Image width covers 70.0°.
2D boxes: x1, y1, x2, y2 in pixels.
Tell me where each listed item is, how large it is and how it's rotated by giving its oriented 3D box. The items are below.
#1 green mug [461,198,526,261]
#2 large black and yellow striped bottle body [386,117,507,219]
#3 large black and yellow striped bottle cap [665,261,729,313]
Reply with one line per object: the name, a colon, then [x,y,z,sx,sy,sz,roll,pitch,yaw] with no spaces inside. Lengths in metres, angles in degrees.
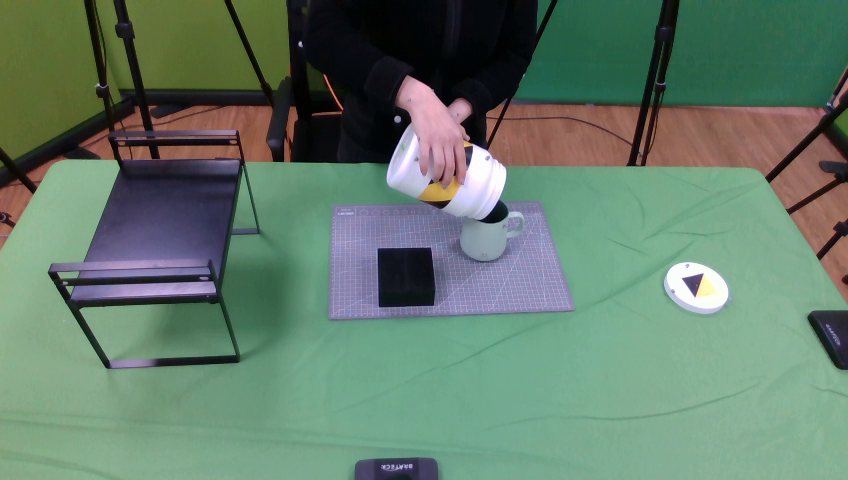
green mug: [0.136,-0.024,1.168,0.125,0.105,0.092,-7,47,-10]
large black and yellow striped bottle body: [0.041,-0.121,1.069,0.184,0.131,0.130,23,44,-16]
large black and yellow striped bottle cap: [0.518,0.087,1.152,0.115,0.019,0.114,2,47,-2]
